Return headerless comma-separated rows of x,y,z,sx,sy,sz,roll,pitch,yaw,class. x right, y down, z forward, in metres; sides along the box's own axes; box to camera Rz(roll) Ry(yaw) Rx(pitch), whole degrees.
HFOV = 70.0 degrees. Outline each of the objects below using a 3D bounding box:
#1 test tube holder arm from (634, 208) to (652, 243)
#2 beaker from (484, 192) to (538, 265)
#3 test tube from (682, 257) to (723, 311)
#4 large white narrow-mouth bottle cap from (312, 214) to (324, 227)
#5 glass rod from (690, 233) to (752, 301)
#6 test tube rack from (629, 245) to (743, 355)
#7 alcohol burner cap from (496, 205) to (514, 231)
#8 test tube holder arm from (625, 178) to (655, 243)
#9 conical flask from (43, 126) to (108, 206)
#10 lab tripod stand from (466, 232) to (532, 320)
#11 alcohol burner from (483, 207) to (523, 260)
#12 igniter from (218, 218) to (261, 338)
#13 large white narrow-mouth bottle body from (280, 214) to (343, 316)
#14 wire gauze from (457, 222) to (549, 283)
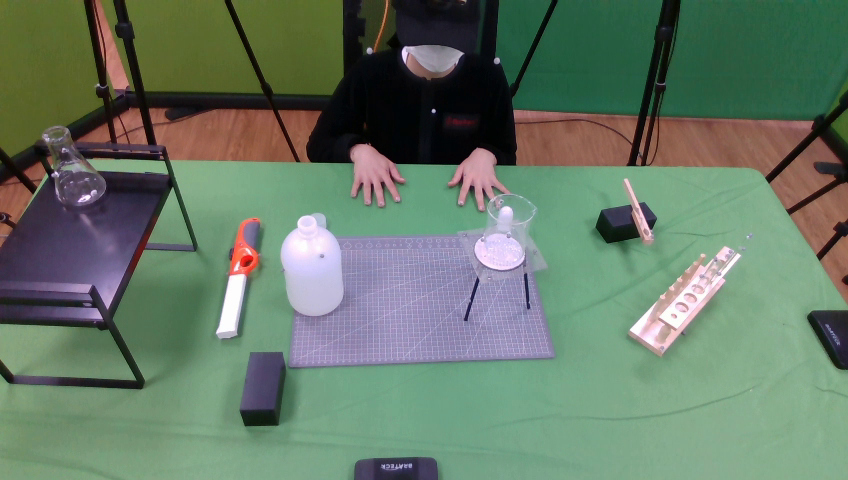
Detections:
0.428,-0.030,1.189,0.010,0.015,0.087,2,47,-3,test tube holder arm
0.137,-0.016,0.980,0.084,0.101,0.073,-6,45,-9,beaker
0.475,0.080,1.037,0.017,0.151,0.017,1,51,-1,test tube
-0.219,-0.033,1.214,0.038,0.024,0.037,2,46,-2,large white narrow-mouth bottle cap
0.507,0.053,1.041,0.008,0.200,0.008,5,50,-6,glass rod
0.474,0.095,1.091,0.242,0.085,0.066,-34,56,-31,test tube rack
0.153,-0.044,1.131,0.034,0.048,0.033,2,40,-1,alcohol burner cap
0.433,-0.062,1.220,0.013,0.015,0.177,1,47,-3,test tube holder arm
-0.555,-0.119,0.953,0.075,0.122,0.075,2,46,-2,conical flask
0.125,0.059,1.065,0.148,0.132,0.147,1,45,0,lab tripod stand
0.152,-0.018,1.156,0.078,0.120,0.077,0,47,0,alcohol burner
-0.336,0.060,1.111,0.057,0.025,0.274,-8,46,4,igniter
-0.190,0.035,1.025,0.102,0.195,0.101,2,46,-2,large white narrow-mouth bottle body
0.131,0.016,1.017,0.121,0.011,0.124,-10,44,-16,wire gauze
